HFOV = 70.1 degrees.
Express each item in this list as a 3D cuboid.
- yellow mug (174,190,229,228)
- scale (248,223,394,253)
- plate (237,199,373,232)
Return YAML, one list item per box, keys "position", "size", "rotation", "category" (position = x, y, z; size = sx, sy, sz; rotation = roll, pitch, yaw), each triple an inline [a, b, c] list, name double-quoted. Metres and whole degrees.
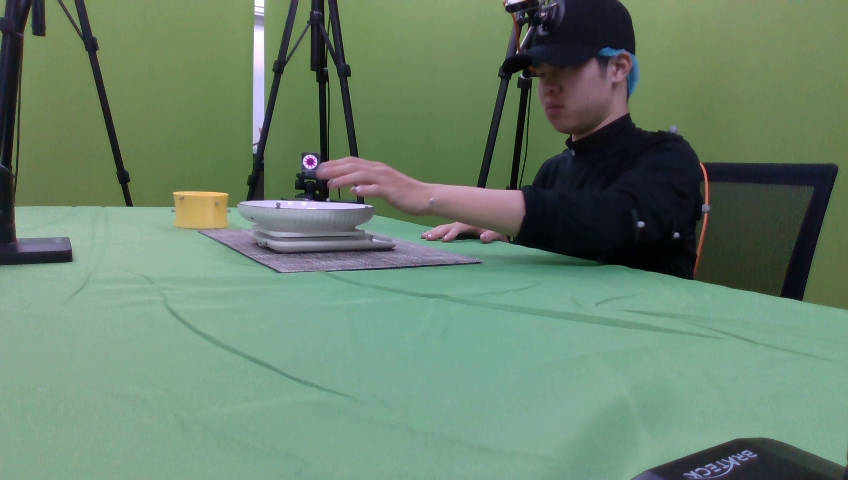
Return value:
- position: [-0.427, -0.063, 1.189]
  size: [0.100, 0.064, 0.131]
  rotation: [5, 7, 13]
  category: "yellow mug"
- position: [-0.162, -0.007, 0.954]
  size: [0.202, 0.031, 0.148]
  rotation: [-2, 8, -32]
  category: "scale"
- position: [-0.183, -0.039, 0.941]
  size: [0.209, 0.038, 0.209]
  rotation: [3, 7, 0]
  category: "plate"
